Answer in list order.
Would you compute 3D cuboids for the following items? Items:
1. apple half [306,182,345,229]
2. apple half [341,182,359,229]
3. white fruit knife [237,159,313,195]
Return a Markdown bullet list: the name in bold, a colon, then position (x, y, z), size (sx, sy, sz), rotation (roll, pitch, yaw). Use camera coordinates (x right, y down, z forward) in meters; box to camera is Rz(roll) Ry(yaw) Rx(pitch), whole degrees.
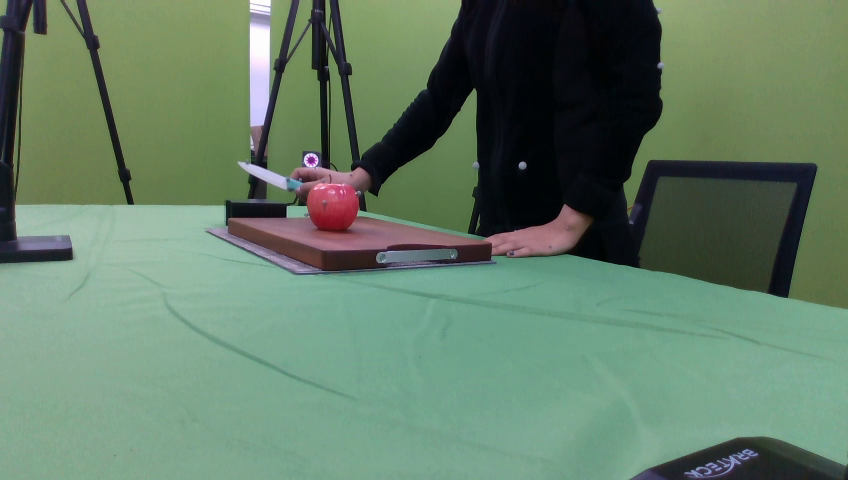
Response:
- **apple half**: position (-0.157, -0.054, 0.950), size (0.053, 0.074, 0.080), rotation (-4, 13, -20)
- **apple half**: position (-0.120, -0.056, 0.963), size (0.033, 0.081, 0.081), rotation (-5, 9, -19)
- **white fruit knife**: position (-0.269, -0.114, 1.194), size (0.208, 0.027, 0.016), rotation (23, -6, -26)
